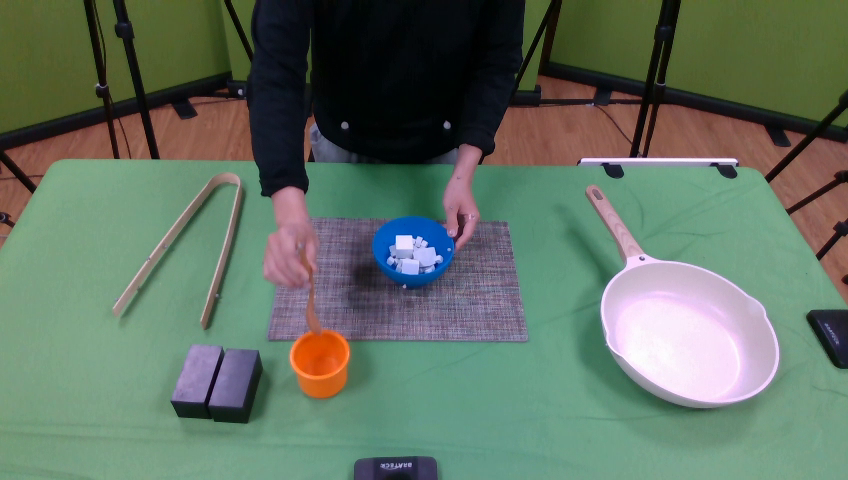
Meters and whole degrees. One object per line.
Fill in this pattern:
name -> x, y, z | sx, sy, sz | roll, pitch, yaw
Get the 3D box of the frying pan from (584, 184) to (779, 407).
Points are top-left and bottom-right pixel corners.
frying pan -> 0.412, 0.079, 1.096 | 0.307, 0.103, 0.484 | -10, 56, -15

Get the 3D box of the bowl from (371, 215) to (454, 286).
bowl -> -0.023, 0.033, 1.119 | 0.151, 0.077, 0.150 | 3, 46, -2

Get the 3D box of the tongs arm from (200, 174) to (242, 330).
tongs arm -> -0.387, 0.008, 1.158 | 0.028, 0.028, 0.385 | -1, 46, -3

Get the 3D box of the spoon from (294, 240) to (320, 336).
spoon -> -0.168, 0.071, 0.877 | 0.022, 0.194, 0.041 | -6, 43, -11

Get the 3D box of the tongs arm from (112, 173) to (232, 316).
tongs arm -> -0.467, -0.005, 1.157 | 0.051, 0.026, 0.382 | 11, 45, 4
